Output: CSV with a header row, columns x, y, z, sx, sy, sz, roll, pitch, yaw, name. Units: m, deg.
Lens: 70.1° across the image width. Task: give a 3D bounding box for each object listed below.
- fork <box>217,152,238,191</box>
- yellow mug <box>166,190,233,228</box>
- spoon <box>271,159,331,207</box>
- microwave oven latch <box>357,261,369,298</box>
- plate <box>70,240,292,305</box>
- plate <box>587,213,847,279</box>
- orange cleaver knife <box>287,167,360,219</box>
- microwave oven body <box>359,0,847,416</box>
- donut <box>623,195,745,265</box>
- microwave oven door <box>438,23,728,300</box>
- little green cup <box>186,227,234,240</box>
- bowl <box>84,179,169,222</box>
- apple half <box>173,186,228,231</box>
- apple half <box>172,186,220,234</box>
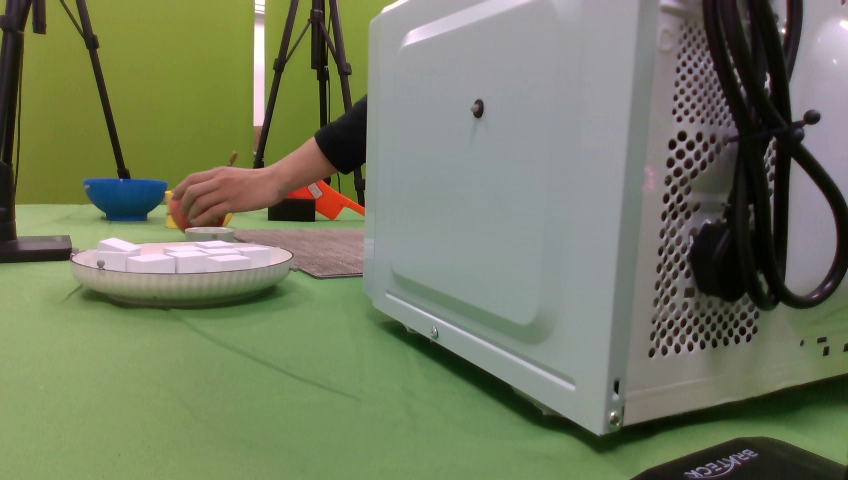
x,y,z,sx,sy,sz,roll,pitch,yaw,name
-0.455,-0.132,1.366,0.028,0.018,0.207,-2,-35,-37,fork
-0.415,-0.057,1.131,0.130,0.064,0.100,6,8,16,yellow mug
-0.307,-0.141,1.513,0.193,0.021,0.041,-41,4,8,spoon
-0.019,0.033,0.530,0.079,0.029,0.030,0,7,-25,microwave oven latch
-0.242,0.031,0.618,0.208,0.039,0.207,2,8,0,plate
0.244,0.002,0.512,0.209,0.038,0.209,2,7,0,plate
-0.210,-0.089,1.383,0.212,0.077,0.012,31,3,-15,orange cleaver knife
0.211,-0.047,0.474,0.444,0.260,0.324,-1,7,-28,microwave oven body
0.221,-0.007,0.518,0.099,0.048,0.099,20,0,0,donut
0.181,-0.072,0.621,0.358,0.243,0.039,-2,8,-29,microwave oven door
-0.285,0.005,0.805,0.061,0.038,0.061,2,8,0,little green cup
-0.584,-0.078,1.194,0.151,0.077,0.151,3,8,0,bowl
-0.340,-0.045,0.939,0.081,0.074,0.053,-8,10,-43,apple half
-0.368,-0.048,0.966,0.082,0.081,0.032,-5,9,-44,apple half
